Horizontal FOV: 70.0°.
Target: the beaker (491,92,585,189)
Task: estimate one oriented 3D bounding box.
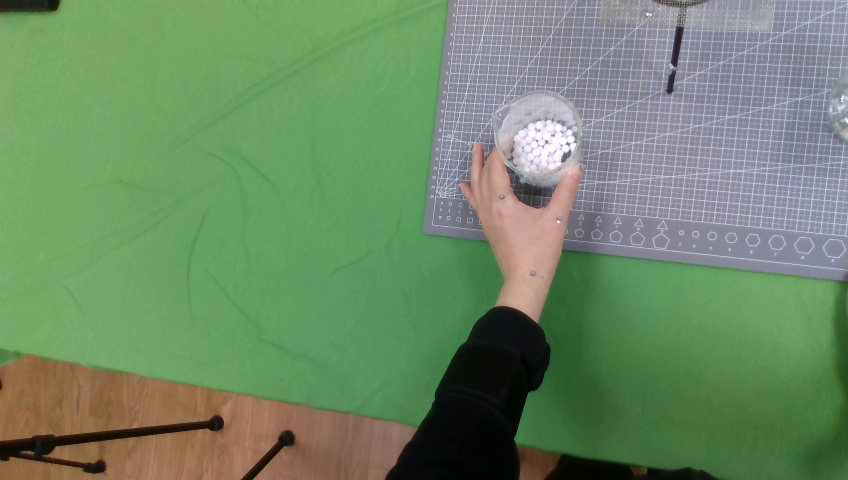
[{"bbox_3d":[0.107,-0.088,0.562,0.083,0.100,0.074,27,94,15],"label":"beaker"}]

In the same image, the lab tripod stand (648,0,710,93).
[{"bbox_3d":[0.215,-0.216,0.520,0.148,0.132,0.148,0,89,13],"label":"lab tripod stand"}]

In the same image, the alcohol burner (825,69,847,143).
[{"bbox_3d":[0.374,-0.114,0.486,0.078,0.119,0.078,0,88,13],"label":"alcohol burner"}]

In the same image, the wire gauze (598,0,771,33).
[{"bbox_3d":[0.198,-0.218,0.455,0.124,0.011,0.121,6,92,15],"label":"wire gauze"}]
